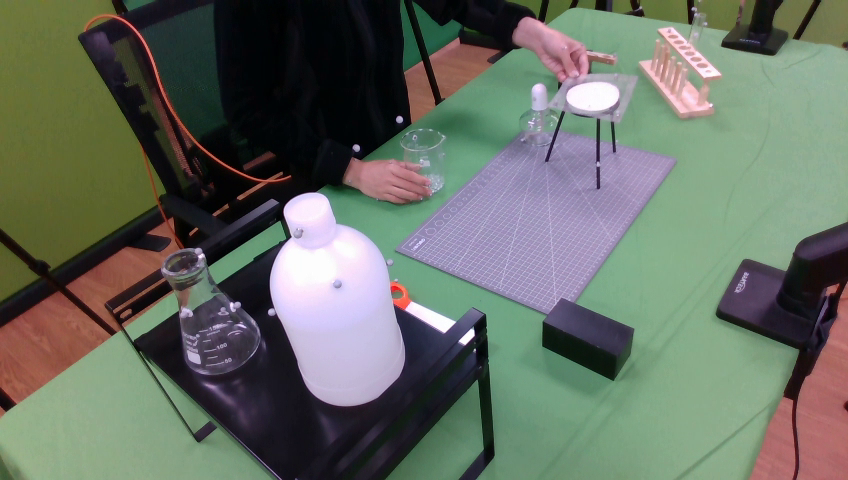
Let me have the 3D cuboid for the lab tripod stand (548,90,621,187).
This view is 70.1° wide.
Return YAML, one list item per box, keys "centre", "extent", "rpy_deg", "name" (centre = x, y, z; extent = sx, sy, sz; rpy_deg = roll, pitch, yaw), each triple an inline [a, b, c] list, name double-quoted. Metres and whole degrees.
- centre: [0.289, -0.184, 1.062]
  extent: [0.148, 0.132, 0.147]
  rpy_deg: [-6, 41, 6]
  name: "lab tripod stand"

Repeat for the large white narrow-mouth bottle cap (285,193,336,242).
- centre: [-0.087, -0.018, 0.467]
  extent: [0.038, 0.024, 0.037]
  rpy_deg: [-5, 40, 4]
  name: "large white narrow-mouth bottle cap"

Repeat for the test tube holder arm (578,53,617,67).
- centre: [0.376, -0.393, 1.314]
  extent: [0.087, 0.015, 0.010]
  rpy_deg: [26, 51, 32]
  name: "test tube holder arm"

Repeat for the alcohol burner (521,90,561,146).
- centre: [0.223, -0.241, 1.155]
  extent: [0.078, 0.119, 0.077]
  rpy_deg: [-5, 43, 5]
  name: "alcohol burner"

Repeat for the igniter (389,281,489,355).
- centre: [-0.029, 0.094, 0.871]
  extent: [0.274, 0.025, 0.057]
  rpy_deg: [22, 59, 31]
  name: "igniter"

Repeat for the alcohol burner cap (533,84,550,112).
- centre: [0.218, -0.268, 1.132]
  extent: [0.034, 0.048, 0.033]
  rpy_deg: [-9, 35, 7]
  name: "alcohol burner cap"

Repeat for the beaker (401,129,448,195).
- centre: [0.005, -0.140, 1.087]
  extent: [0.084, 0.101, 0.073]
  rpy_deg: [-14, 41, -8]
  name: "beaker"

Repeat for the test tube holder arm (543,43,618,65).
- centre: [0.344, -0.413, 1.340]
  extent: [0.177, 0.015, 0.013]
  rpy_deg: [25, 51, 31]
  name: "test tube holder arm"

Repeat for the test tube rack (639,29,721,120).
- centre: [0.527, -0.351, 1.262]
  extent: [0.067, 0.085, 0.241]
  rpy_deg: [-8, 40, 1]
  name: "test tube rack"

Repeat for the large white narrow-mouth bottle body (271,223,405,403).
- centre: [-0.077, 0.048, 0.525]
  extent: [0.102, 0.195, 0.101]
  rpy_deg: [-5, 40, 5]
  name: "large white narrow-mouth bottle body"

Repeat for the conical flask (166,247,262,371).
- centre: [-0.208, 0.064, 0.584]
  extent: [0.075, 0.122, 0.075]
  rpy_deg: [-5, 40, 4]
  name: "conical flask"

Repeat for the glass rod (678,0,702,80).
- centre: [0.543, -0.417, 1.233]
  extent: [0.008, 0.200, 0.008]
  rpy_deg: [1, 39, 0]
  name: "glass rod"

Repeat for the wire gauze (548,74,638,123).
- centre: [0.286, -0.246, 1.023]
  extent: [0.124, 0.011, 0.121]
  rpy_deg: [15, 51, 26]
  name: "wire gauze"

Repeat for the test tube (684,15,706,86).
- centre: [0.540, -0.378, 1.215]
  extent: [0.017, 0.151, 0.017]
  rpy_deg: [-2, 44, 3]
  name: "test tube"
